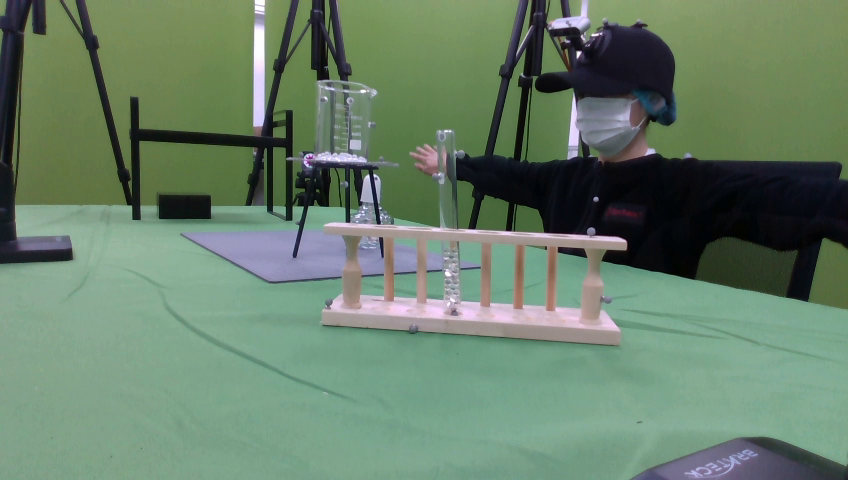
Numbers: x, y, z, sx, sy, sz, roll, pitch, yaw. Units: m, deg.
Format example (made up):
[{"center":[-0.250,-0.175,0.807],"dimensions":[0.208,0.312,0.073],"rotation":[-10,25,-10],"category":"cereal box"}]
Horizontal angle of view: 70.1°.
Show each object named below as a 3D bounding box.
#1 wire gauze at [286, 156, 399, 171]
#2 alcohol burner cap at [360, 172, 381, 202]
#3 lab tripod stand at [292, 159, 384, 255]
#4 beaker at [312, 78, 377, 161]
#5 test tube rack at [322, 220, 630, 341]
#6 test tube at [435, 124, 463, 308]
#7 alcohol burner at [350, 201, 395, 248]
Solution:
[{"center":[-0.101,-0.103,0.788],"dimensions":[0.121,0.011,0.125],"rotation":[5,4,6],"category":"wire gauze"},{"center":[-0.081,-0.084,0.949],"dimensions":[0.034,0.048,0.034],"rotation":[7,7,-1],"category":"alcohol burner cap"},{"center":[-0.105,-0.039,0.797],"dimensions":[0.148,0.131,0.148],"rotation":[2,5,0],"category":"lab tripod stand"},{"center":[-0.103,-0.151,0.775],"dimensions":[0.084,0.100,0.074],"rotation":[5,7,14],"category":"beaker"},{"center":[0.041,0.029,0.512],"dimensions":[0.242,0.085,0.067],"rotation":[3,7,5],"category":"test tube rack"},{"center":[0.021,-0.018,0.491],"dimensions":[0.017,0.150,0.017],"rotation":[-3,6,1],"category":"test tube"},{"center":[-0.084,-0.048,0.953],"dimensions":[0.078,0.119,0.078],"rotation":[1,6,0],"category":"alcohol burner"}]
